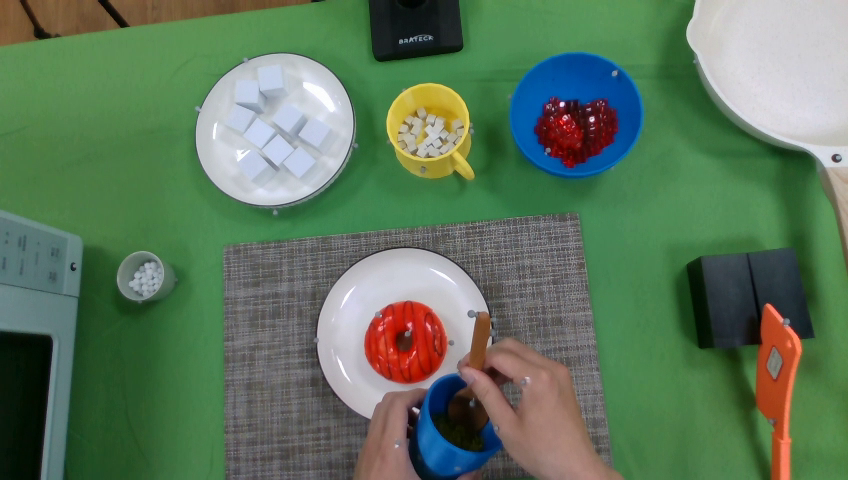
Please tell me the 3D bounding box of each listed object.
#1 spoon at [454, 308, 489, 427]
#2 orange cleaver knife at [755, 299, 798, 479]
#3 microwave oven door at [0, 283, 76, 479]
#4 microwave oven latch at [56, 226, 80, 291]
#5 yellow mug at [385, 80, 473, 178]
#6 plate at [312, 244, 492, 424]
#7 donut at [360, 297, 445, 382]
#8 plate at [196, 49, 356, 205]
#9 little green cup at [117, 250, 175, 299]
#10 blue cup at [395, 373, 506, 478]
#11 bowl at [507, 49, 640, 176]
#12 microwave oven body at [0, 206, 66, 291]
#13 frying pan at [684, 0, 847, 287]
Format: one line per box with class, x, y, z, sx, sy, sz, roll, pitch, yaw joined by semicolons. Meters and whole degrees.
spoon;0.043;0.119;0.537;0.041;0.195;0.021;19;54;13
orange cleaver knife;0.370;0.168;0.644;0.012;0.077;0.212;-6;107;5
microwave oven door;-0.461;0.219;0.615;0.039;0.245;0.354;-3;78;5
microwave oven latch;-0.453;0.024;0.756;0.030;0.029;0.079;1;80;5
yellow mug;0.016;-0.125;0.744;0.100;0.064;0.130;-42;79;-3
plate;-0.025;0.108;0.713;0.209;0.038;0.208;-1;79;5
donut;-0.025;0.115;0.700;0.099;0.048;0.099;-1;83;7
plate;-0.187;-0.143;0.782;0.207;0.039;0.206;-1;79;6
little green cup;-0.346;0.045;0.760;0.061;0.039;0.061;-1;80;5
blue cup;0.018;0.189;0.593;0.093;0.100;0.091;16;50;-20
bowl;0.174;-0.141;0.726;0.151;0.077;0.151;-1;80;5
microwave oven body;-0.606;0.184;0.642;0.326;0.261;0.439;-2;79;5
frying pan;0.455;-0.140;0.684;0.306;0.103;0.484;0;71;7
